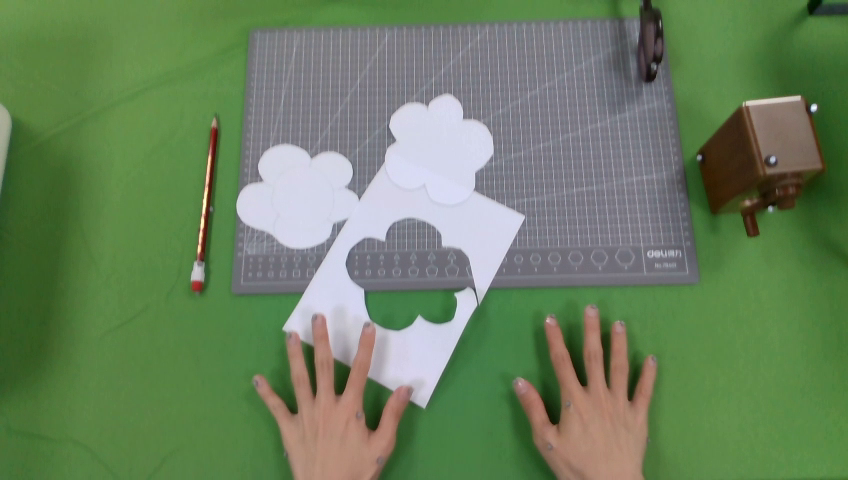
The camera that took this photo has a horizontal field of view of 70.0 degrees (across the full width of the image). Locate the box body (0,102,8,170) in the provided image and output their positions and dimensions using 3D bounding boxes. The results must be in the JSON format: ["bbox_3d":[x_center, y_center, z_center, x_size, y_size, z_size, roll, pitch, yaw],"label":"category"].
[{"bbox_3d":[-0.552,0.000,0.530,0.254,0.161,0.362,-2,74,1],"label":"box body"}]

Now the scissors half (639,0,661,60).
[{"bbox_3d":[0.223,-0.257,0.613,0.013,0.040,0.174,0,65,4],"label":"scissors half"}]

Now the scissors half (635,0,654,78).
[{"bbox_3d":[0.225,-0.252,0.632,0.013,0.040,0.174,-2,82,9],"label":"scissors half"}]

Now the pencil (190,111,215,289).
[{"bbox_3d":[-0.223,-0.045,0.614,0.012,0.012,0.193,-2,73,2],"label":"pencil"}]

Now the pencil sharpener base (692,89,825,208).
[{"bbox_3d":[0.303,-0.077,0.557,0.061,0.107,0.076,-6,74,0],"label":"pencil sharpener base"}]

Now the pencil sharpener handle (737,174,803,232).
[{"bbox_3d":[0.304,-0.031,0.531,0.036,0.068,0.030,-2,74,-13],"label":"pencil sharpener handle"}]
